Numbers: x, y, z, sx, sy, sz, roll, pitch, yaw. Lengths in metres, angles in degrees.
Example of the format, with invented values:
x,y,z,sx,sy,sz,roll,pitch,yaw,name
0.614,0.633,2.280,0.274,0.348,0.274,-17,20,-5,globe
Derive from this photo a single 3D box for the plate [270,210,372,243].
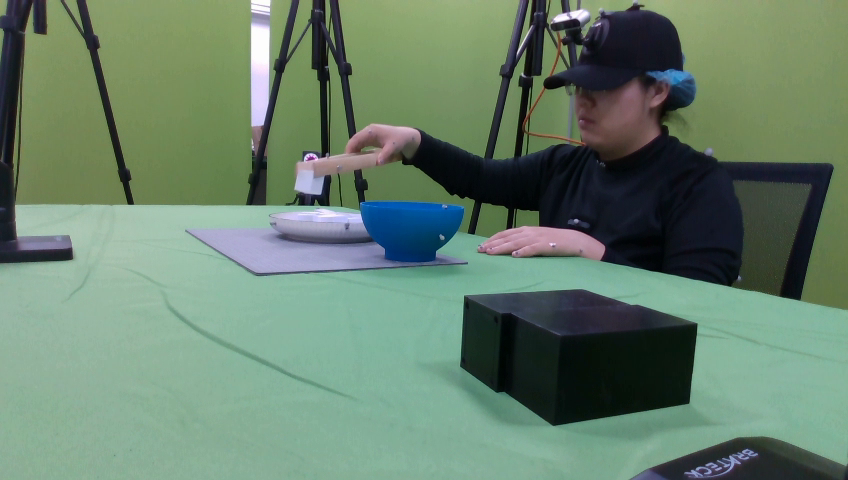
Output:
x,y,z,sx,sy,sz,roll,pitch,yaw,name
-0.161,-0.023,1.054,0.208,0.039,0.207,2,7,0,plate

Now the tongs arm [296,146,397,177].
x,y,z,sx,sy,sz,roll,pitch,yaw,name
-0.132,-0.153,1.146,0.050,0.026,0.385,3,13,15,tongs arm

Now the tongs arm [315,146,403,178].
x,y,z,sx,sy,sz,roll,pitch,yaw,name
-0.110,-0.151,1.139,0.028,0.028,0.388,0,12,20,tongs arm

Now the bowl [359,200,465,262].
x,y,z,sx,sy,sz,roll,pitch,yaw,name
-0.018,-0.013,0.859,0.151,0.077,0.151,2,7,0,bowl
